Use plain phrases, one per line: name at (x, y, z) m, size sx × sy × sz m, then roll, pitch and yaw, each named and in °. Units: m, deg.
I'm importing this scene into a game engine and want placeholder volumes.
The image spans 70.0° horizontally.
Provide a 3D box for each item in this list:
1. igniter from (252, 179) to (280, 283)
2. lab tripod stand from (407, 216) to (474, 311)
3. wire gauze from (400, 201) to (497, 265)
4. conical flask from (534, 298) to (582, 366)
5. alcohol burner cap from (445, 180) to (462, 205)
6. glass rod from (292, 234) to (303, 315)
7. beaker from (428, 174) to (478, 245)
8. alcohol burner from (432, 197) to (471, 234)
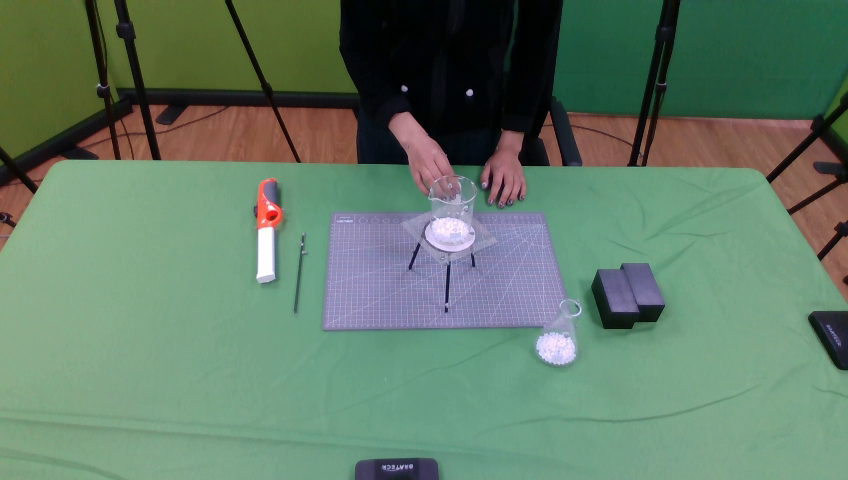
igniter at (-0.312, -0.027, 1.197) m, size 0.057 × 0.025 × 0.274 m, roll -12°, pitch 47°, yaw -2°
lab tripod stand at (0.039, 0.030, 1.093) m, size 0.148 × 0.132 × 0.147 m, roll 2°, pitch 44°, yaw -2°
wire gauze at (0.042, -0.013, 1.043) m, size 0.125 × 0.011 × 0.120 m, roll -24°, pitch 49°, yaw -24°
conical flask at (0.229, 0.149, 1.005) m, size 0.075 × 0.122 × 0.075 m, roll 2°, pitch 46°, yaw -2°
alcohol burner cap at (0.058, -0.095, 1.178) m, size 0.034 × 0.048 × 0.033 m, roll 2°, pitch 47°, yaw -2°
glass rod at (-0.236, 0.060, 1.134) m, size 0.008 × 0.008 × 0.198 m, roll -1°, pitch 46°, yaw -4°
beaker at (0.043, -0.047, 1.009) m, size 0.084 × 0.101 × 0.073 m, roll -16°, pitch 48°, yaw -19°
alcohol burner at (0.056, -0.070, 1.205) m, size 0.078 × 0.120 × 0.077 m, roll 1°, pitch 47°, yaw -1°
